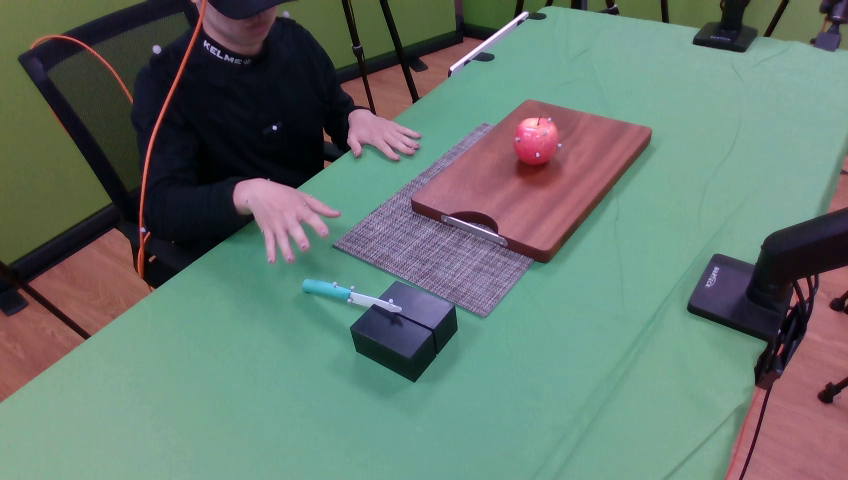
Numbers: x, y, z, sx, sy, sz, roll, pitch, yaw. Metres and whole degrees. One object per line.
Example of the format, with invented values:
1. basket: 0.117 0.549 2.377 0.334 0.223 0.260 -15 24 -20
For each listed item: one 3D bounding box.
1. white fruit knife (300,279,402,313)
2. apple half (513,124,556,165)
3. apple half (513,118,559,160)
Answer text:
1. white fruit knife: -0.107 0.078 0.847 0.205 0.027 0.016 8 41 39
2. apple half: 0.185 -0.157 1.041 0.081 0.081 0.033 14 41 23
3. apple half: 0.203 -0.180 1.067 0.080 0.075 0.053 12 40 27
